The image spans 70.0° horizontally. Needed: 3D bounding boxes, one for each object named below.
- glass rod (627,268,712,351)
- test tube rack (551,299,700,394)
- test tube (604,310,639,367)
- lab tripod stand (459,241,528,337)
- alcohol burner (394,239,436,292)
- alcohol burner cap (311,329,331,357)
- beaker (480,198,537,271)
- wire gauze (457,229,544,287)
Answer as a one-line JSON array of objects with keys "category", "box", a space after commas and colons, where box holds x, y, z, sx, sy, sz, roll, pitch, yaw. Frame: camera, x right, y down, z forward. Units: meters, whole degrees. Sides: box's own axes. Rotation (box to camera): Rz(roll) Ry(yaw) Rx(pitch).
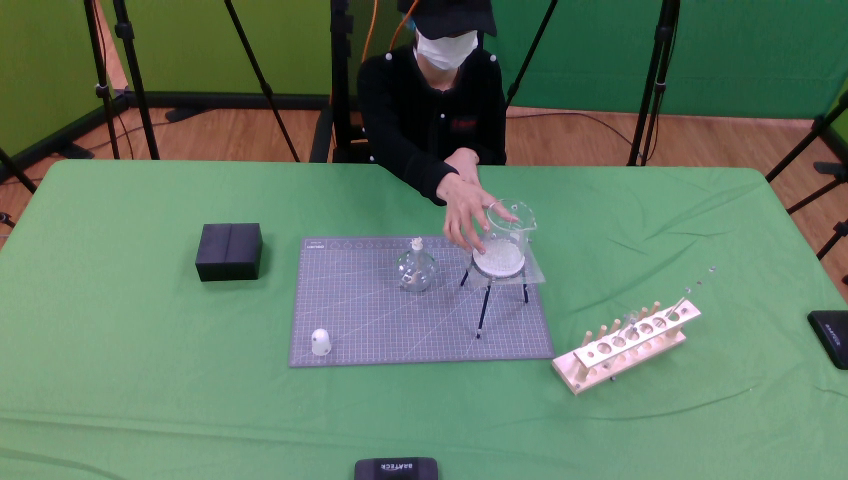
[{"category": "glass rod", "box": [0.399, 0.117, 0.995, 0.008, 0.200, 0.008, 26, 29, -16]}, {"category": "test tube rack", "box": [0.339, 0.166, 1.021, 0.242, 0.085, 0.066, -19, 50, -21]}, {"category": "test tube", "box": [0.310, 0.158, 0.957, 0.017, 0.151, 0.017, 1, 49, -1]}, {"category": "lab tripod stand", "box": [0.122, 0.075, 1.054, 0.148, 0.132, 0.147, 3, 44, -3]}, {"category": "alcohol burner", "box": [-0.016, 0.038, 1.093, 0.078, 0.119, 0.077, 2, 48, -2]}, {"category": "alcohol burner cap", "box": [-0.173, 0.168, 1.004, 0.034, 0.048, 0.033, 2, 46, -2]}, {"category": "beaker", "box": [0.133, -0.005, 0.973, 0.084, 0.101, 0.074, 23, 49, 15]}, {"category": "wire gauze", "box": [0.126, 0.030, 1.008, 0.125, 0.011, 0.120, -2, 48, -11]}]
